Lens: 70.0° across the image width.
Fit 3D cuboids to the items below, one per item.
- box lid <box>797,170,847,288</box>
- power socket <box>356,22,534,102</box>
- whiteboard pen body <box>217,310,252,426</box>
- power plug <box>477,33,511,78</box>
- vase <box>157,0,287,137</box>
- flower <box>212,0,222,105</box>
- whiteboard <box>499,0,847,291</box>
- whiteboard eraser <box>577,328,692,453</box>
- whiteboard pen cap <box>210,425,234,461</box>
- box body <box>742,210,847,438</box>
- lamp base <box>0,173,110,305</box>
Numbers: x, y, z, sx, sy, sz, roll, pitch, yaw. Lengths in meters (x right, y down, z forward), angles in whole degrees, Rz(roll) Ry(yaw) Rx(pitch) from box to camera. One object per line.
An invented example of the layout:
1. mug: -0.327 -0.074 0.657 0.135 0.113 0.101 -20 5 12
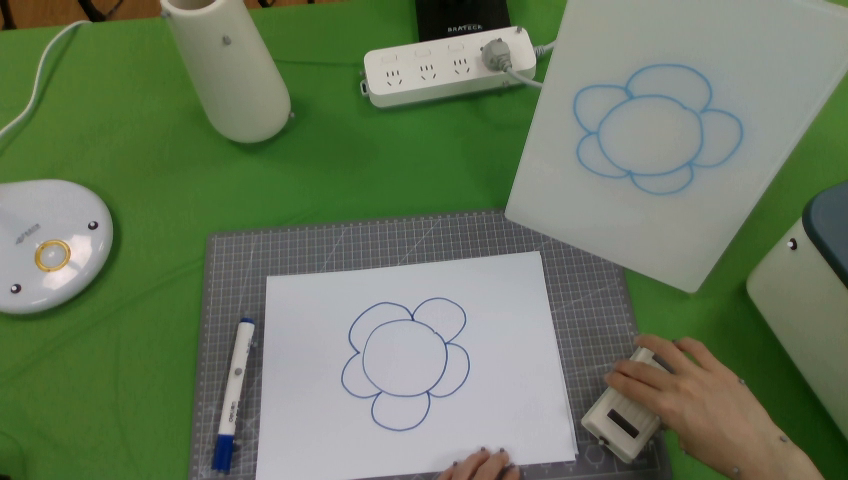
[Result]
1. box lid: 0.493 0.066 0.457 0.263 0.015 0.368 -22 67 -8
2. power socket: 0.027 -0.222 0.753 0.227 0.033 0.071 -10 66 -4
3. whiteboard pen body: -0.188 0.138 0.596 0.017 0.017 0.140 3 67 3
4. power plug: 0.082 -0.213 0.724 0.035 0.053 0.072 -1 71 1
5. vase: -0.217 -0.199 0.658 0.098 0.201 0.097 -1 65 3
6. flower: -0.199 -0.228 0.580 0.038 0.362 0.044 43 63 1
7. whiteboard: 0.229 -0.133 0.593 0.216 0.308 0.143 24 47 13
8. whiteboard eraser: 0.200 0.141 0.575 0.055 0.042 0.112 39 72 17
9. whiteboard pen cap: -0.191 0.192 0.574 0.018 0.018 0.033 2 67 3
10. box body: 0.496 0.100 0.524 0.254 0.161 0.361 -22 67 -9
11. lamp base: -0.441 -0.042 0.601 0.178 0.182 0.160 25 68 16
